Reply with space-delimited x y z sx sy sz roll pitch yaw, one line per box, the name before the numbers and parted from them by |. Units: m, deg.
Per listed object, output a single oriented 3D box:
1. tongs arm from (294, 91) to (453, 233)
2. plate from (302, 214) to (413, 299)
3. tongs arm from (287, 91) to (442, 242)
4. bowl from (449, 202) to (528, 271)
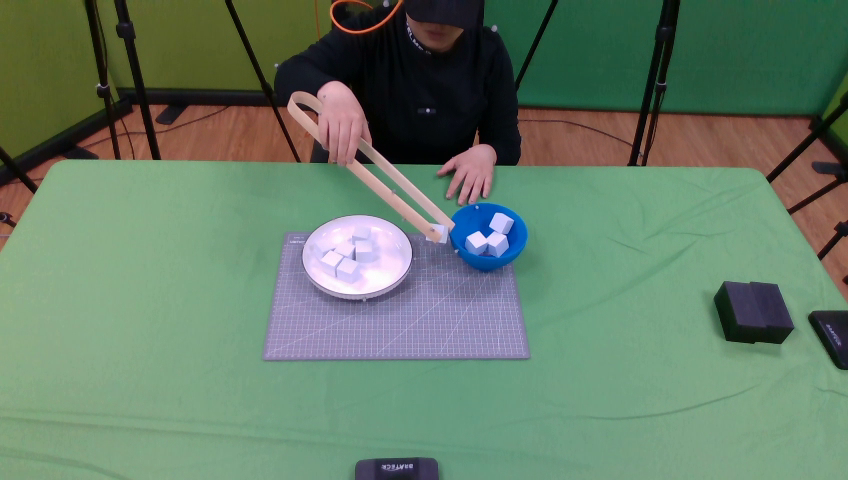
tongs arm | -0.095 -0.146 1.120 0.387 0.028 0.028 42 44 7
plate | -0.124 0.033 1.143 0.208 0.039 0.206 2 46 -2
tongs arm | -0.109 -0.135 1.099 0.384 0.026 0.050 40 41 5
bowl | 0.118 0.006 1.160 0.151 0.077 0.150 2 46 -2
